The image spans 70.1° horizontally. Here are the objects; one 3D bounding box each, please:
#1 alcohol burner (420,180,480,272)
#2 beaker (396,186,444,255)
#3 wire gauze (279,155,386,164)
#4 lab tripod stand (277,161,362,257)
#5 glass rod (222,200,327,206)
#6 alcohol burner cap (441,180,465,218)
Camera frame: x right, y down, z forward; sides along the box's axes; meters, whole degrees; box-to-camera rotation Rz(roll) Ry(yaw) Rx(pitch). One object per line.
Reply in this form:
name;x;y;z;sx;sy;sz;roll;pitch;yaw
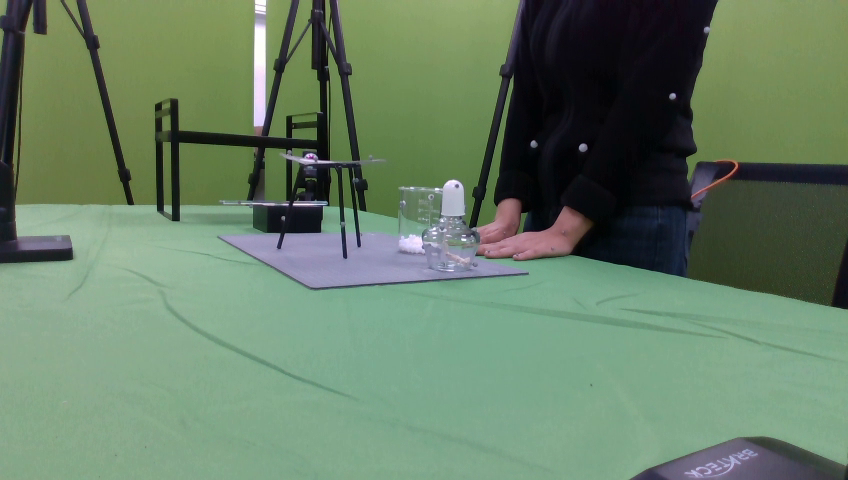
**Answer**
alcohol burner;0.035;-0.018;0.785;0.078;0.119;0.078;4;6;0
beaker;-0.003;-0.030;0.921;0.083;0.100;0.074;8;9;31
wire gauze;-0.134;-0.114;0.875;0.122;0.011;0.124;-1;9;-30
lab tripod stand;-0.143;-0.049;0.884;0.148;0.131;0.148;1;9;0
glass rod;-0.276;-0.069;1.134;0.201;0.008;0.008;-1;8;-33
alcohol burner cap;0.038;-0.054;0.781;0.034;0.048;0.034;0;13;0
